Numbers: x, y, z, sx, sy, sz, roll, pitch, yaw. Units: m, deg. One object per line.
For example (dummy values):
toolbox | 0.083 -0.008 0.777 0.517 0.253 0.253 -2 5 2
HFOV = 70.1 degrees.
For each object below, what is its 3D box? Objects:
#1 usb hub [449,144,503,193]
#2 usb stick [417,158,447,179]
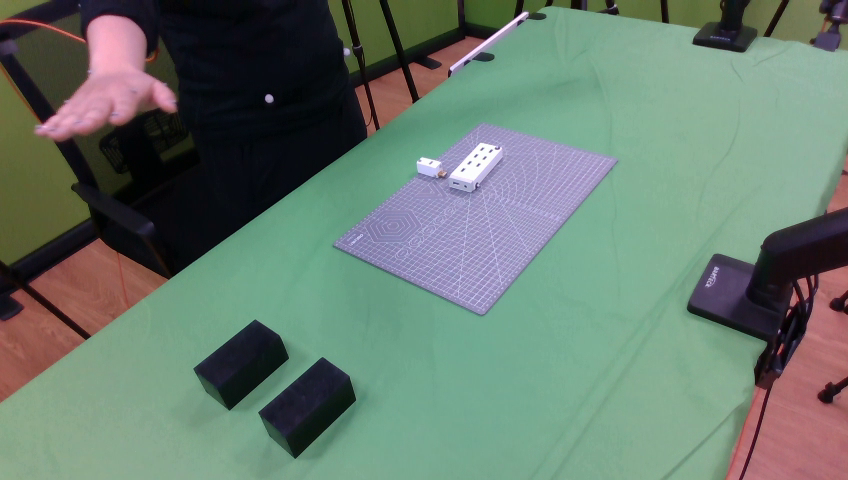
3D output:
usb hub | 0.096 -0.132 1.105 0.049 0.025 0.125 18 47 27
usb stick | 0.016 -0.130 1.114 0.059 0.027 0.021 22 45 26
